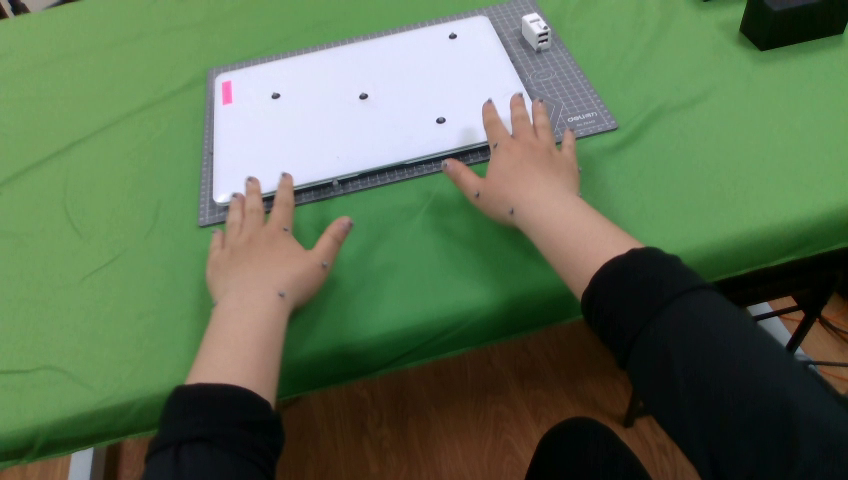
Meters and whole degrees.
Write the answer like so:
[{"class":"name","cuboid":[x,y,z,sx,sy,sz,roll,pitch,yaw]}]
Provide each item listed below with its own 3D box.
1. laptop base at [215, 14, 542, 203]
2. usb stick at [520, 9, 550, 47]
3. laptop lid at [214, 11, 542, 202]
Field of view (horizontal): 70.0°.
[{"class":"laptop base","cuboid":[-0.067,-0.160,0.705,0.354,0.023,0.233,-14,52,-2]},{"class":"usb stick","cuboid":[0.136,-0.267,0.754,0.021,0.027,0.058,-18,46,-5]},{"class":"laptop lid","cuboid":[-0.068,-0.166,0.695,0.357,0.013,0.239,-13,51,-1]}]
